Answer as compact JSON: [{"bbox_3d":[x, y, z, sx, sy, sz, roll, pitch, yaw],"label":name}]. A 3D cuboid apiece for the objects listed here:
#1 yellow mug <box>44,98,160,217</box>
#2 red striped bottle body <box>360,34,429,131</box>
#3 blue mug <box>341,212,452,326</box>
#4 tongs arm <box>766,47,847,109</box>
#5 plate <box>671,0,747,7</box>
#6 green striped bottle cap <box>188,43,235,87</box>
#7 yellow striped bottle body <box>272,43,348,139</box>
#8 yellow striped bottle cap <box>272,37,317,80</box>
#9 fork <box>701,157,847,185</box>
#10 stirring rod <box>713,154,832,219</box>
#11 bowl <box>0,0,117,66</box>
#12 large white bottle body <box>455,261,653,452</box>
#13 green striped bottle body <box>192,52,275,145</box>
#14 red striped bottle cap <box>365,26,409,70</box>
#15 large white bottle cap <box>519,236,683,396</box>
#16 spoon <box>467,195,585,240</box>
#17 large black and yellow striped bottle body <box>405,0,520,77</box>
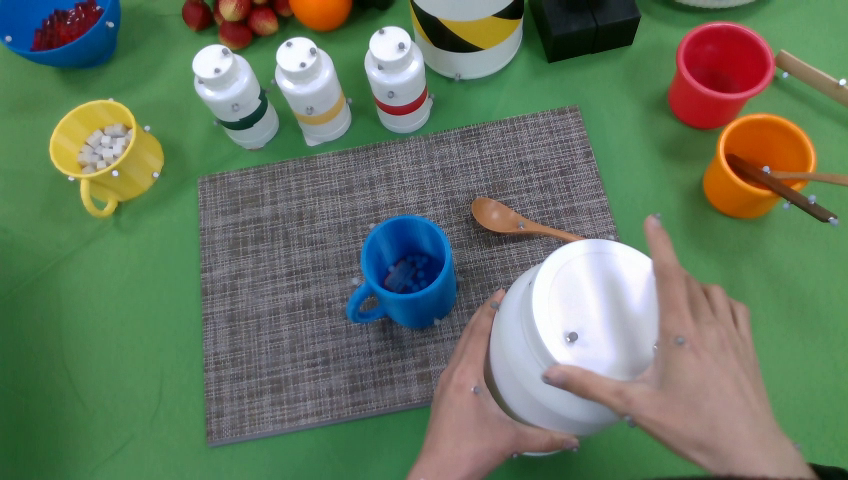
[{"bbox_3d":[-0.366,-0.089,0.689,0.100,0.064,0.130,-2,70,4],"label":"yellow mug"},{"bbox_3d":[-0.032,-0.177,0.665,0.063,0.120,0.062,-3,68,7],"label":"red striped bottle body"},{"bbox_3d":[-0.029,0.040,0.586,0.116,0.106,0.081,-35,69,-8],"label":"blue mug"},{"bbox_3d":[0.547,-0.108,0.634,0.382,0.027,0.050,40,74,17],"label":"tongs arm"},{"bbox_3d":[0.346,-0.368,0.750,0.209,0.038,0.207,-1,70,4],"label":"plate"},{"bbox_3d":[-0.220,-0.181,0.626,0.044,0.020,0.044,-1,68,3],"label":"green striped bottle cap"},{"bbox_3d":[-0.127,-0.169,0.670,0.063,0.121,0.062,-2,68,5],"label":"yellow striped bottle body"},{"bbox_3d":[-0.133,-0.187,0.621,0.044,0.019,0.044,0,65,1],"label":"yellow striped bottle cap"},{"bbox_3d":[0.357,-0.059,0.571,0.028,0.019,0.205,-48,29,-12],"label":"fork"},{"bbox_3d":[0.326,-0.055,0.580,0.014,0.006,0.174,-8,25,-1],"label":"stirring rod"},{"bbox_3d":[-0.447,-0.274,0.760,0.151,0.077,0.150,-1,69,4],"label":"bowl"},{"bbox_3d":[0.108,0.092,0.497,0.131,0.185,0.129,6,60,-10],"label":"large white bottle body"},{"bbox_3d":[-0.214,-0.162,0.675,0.063,0.120,0.062,-1,69,4],"label":"green striped bottle body"},{"bbox_3d":[-0.038,-0.196,0.616,0.044,0.018,0.044,0,67,1],"label":"red striped bottle cap"},{"bbox_3d":[0.123,0.050,0.423,0.115,0.018,0.114,5,63,-8],"label":"large white bottle cap"},{"bbox_3d":[0.136,-0.006,0.634,0.193,0.022,0.041,19,50,11],"label":"spoon"},{"bbox_3d":[0.041,-0.284,0.665,0.131,0.185,0.130,-2,69,5],"label":"large black and yellow striped bottle body"}]
